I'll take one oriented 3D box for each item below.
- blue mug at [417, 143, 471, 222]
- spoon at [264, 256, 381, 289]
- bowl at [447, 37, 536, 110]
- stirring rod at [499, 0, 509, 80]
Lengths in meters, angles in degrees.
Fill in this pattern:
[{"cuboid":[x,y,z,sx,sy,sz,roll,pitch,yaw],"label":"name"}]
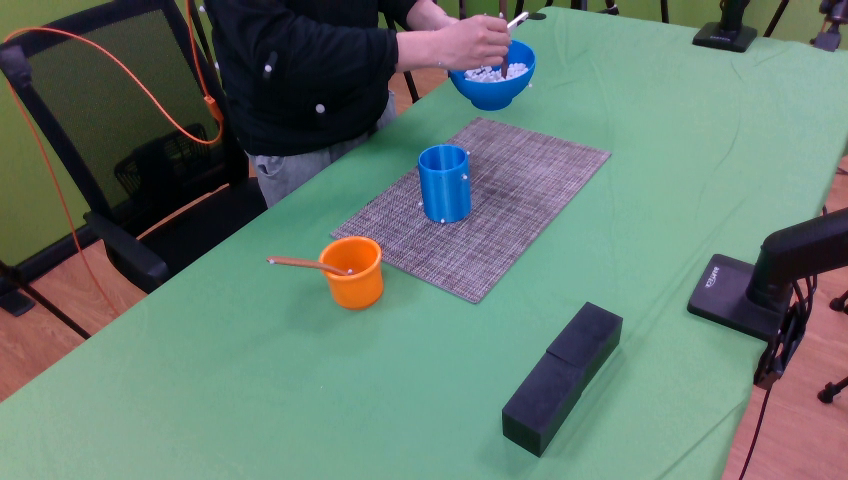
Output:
[{"cuboid":[0.031,-0.104,1.014,0.082,0.106,0.115,-14,41,-7],"label":"blue mug"},{"cuboid":[-0.136,0.041,0.842,0.021,0.195,0.041,-56,46,13],"label":"spoon"},{"cuboid":[0.116,-0.277,1.039,0.151,0.077,0.150,-3,45,4],"label":"bowl"},{"cuboid":[0.131,-0.335,0.993,0.005,0.177,0.014,33,61,31],"label":"stirring rod"}]
